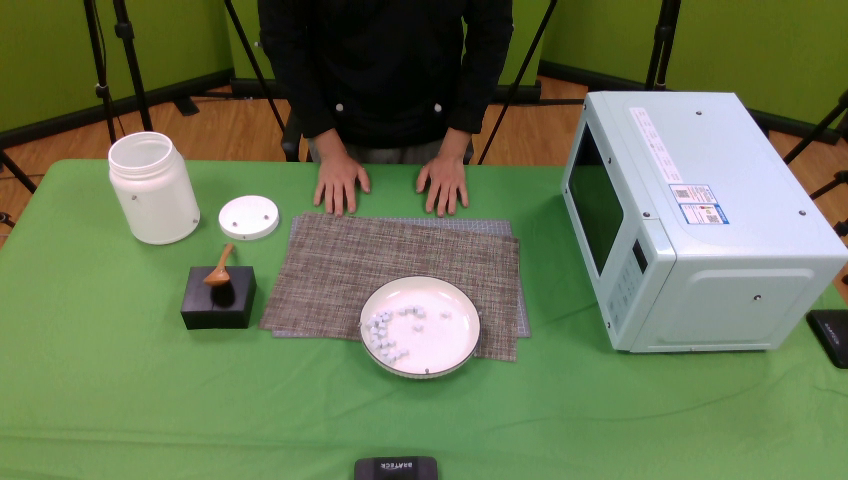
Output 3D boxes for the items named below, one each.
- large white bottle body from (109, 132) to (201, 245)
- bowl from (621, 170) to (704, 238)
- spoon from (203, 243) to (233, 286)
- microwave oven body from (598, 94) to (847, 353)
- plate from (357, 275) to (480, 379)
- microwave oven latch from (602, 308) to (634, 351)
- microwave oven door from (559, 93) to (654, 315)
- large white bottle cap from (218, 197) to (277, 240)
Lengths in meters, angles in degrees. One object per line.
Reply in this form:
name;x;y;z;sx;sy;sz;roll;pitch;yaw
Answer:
large white bottle body;-0.506;-0.097;1.141;0.131;0.185;0.130;2;46;-2
bowl;0.446;-0.057;1.166;0.151;0.077;0.150;2;46;-2
spoon;-0.360;0.039;1.087;0.041;0.022;0.192;-5;24;-7
microwave oven body;0.475;-0.041;1.109;0.326;0.261;0.438;-1;45;-4
plate;-0.009;0.151;1.038;0.209;0.038;0.208;2;47;-2
microwave oven latch;0.332;0.153;1.044;0.030;0.029;0.078;-1;45;-4
microwave oven door;0.327;-0.074;1.123;0.039;0.245;0.353;-1;46;-5
large white bottle cap;-0.354;-0.045;1.220;0.115;0.018;0.114;2;45;-2
